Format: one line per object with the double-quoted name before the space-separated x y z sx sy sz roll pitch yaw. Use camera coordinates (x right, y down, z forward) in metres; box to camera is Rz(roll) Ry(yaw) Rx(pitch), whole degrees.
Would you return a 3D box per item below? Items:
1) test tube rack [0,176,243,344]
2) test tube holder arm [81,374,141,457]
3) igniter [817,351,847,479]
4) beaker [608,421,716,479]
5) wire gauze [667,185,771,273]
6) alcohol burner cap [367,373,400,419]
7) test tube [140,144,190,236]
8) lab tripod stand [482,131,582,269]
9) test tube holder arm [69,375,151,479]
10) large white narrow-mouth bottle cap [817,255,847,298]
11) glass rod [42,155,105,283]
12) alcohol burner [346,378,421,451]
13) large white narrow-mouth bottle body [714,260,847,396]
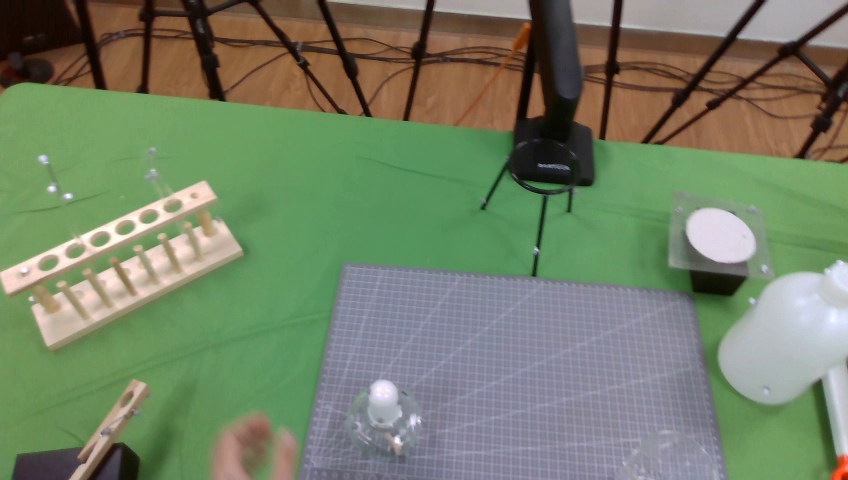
"test tube rack" -0.352 0.021 0.728 0.242 0.086 0.066 -29 61 -21
"test tube holder arm" -0.310 0.175 0.606 0.010 0.015 0.087 11 54 18
"igniter" 0.452 0.233 0.644 0.057 0.025 0.274 16 55 -3
"beaker" 0.223 0.229 0.591 0.084 0.101 0.073 6 54 4
"wire gauze" 0.371 -0.015 0.768 0.121 0.011 0.124 11 55 6
"alcohol burner cap" -0.040 0.149 0.585 0.034 0.048 0.033 0 49 0
"test tube" -0.303 -0.055 0.723 0.017 0.151 0.017 -1 53 1
"lab tripod stand" 0.145 -0.058 0.774 0.148 0.132 0.147 2 56 -2
"test tube holder arm" -0.319 0.210 0.579 0.013 0.015 0.177 11 54 17
"large white narrow-mouth bottle cap" 0.396 0.034 0.574 0.038 0.024 0.037 1 54 -1
"glass rod" -0.384 -0.014 0.671 0.008 0.201 0.008 4 46 -4
"alcohol burner" -0.041 0.169 0.615 0.078 0.120 0.077 2 53 -3
"large white narrow-mouth bottle body" 0.394 0.086 0.644 0.102 0.196 0.101 1 54 -1
